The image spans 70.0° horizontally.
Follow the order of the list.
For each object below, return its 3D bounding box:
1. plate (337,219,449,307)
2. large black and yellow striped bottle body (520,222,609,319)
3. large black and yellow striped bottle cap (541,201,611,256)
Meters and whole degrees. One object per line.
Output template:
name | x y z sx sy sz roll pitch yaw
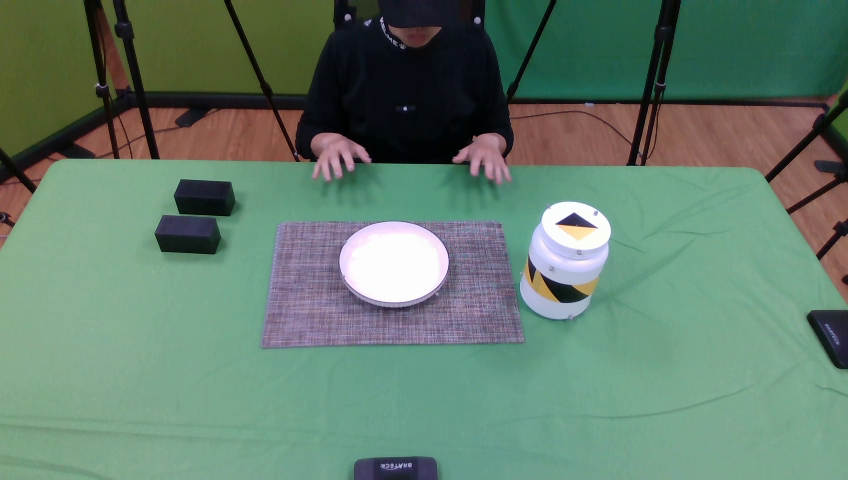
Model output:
plate | -0.057 0.045 1.132 0.208 0.039 0.206 2 46 -2
large black and yellow striped bottle body | 0.247 0.038 1.065 0.131 0.185 0.130 2 46 -2
large black and yellow striped bottle cap | 0.252 -0.021 1.004 0.115 0.019 0.114 1 47 -1
